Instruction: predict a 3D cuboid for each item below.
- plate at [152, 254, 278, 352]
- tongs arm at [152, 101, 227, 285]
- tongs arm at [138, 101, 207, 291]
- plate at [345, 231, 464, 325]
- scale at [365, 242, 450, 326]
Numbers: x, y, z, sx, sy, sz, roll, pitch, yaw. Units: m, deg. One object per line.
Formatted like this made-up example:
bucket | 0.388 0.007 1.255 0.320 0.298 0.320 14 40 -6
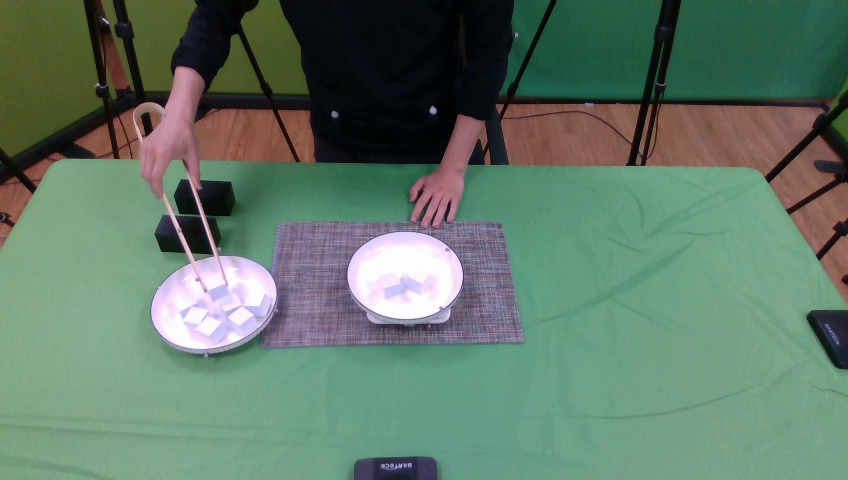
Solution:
plate | -0.357 0.111 1.052 0.208 0.039 0.206 2 46 -2
tongs arm | -0.422 -0.093 1.092 0.028 0.028 0.386 -21 73 -14
tongs arm | -0.442 -0.085 1.085 0.051 0.026 0.383 -25 74 -18
plate | -0.034 0.069 1.069 0.209 0.038 0.208 2 46 -2
scale | -0.032 0.071 1.113 0.149 0.032 0.199 0 46 -4
